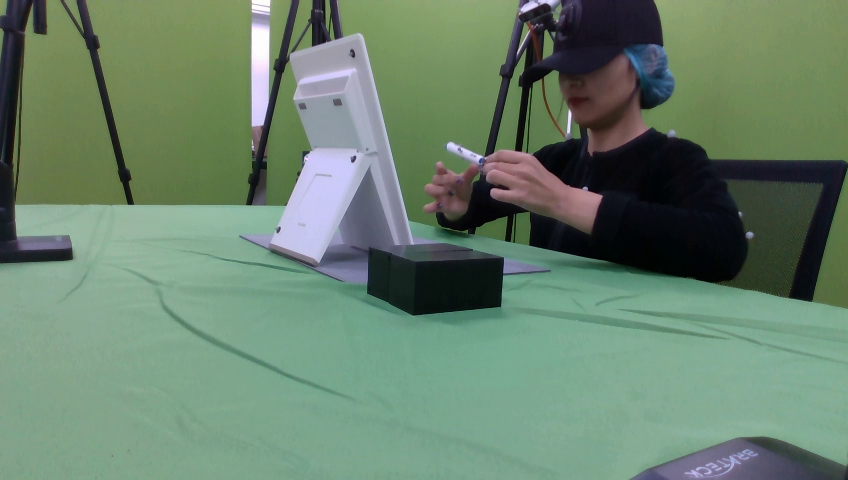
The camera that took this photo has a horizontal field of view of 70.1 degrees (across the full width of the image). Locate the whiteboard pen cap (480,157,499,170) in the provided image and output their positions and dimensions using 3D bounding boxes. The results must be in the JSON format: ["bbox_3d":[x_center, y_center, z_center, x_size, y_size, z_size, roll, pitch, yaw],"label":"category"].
[{"bbox_3d":[0.103,-0.121,0.953,0.018,0.018,0.033,-2,17,-29],"label":"whiteboard pen cap"}]

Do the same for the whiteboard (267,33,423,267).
[{"bbox_3d":[-0.153,-0.098,0.819,0.144,0.305,0.216,-25,21,-29],"label":"whiteboard"}]

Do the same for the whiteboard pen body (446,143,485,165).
[{"bbox_3d":[0.076,-0.140,1.002,0.017,0.017,0.140,-2,20,-28],"label":"whiteboard pen body"}]
